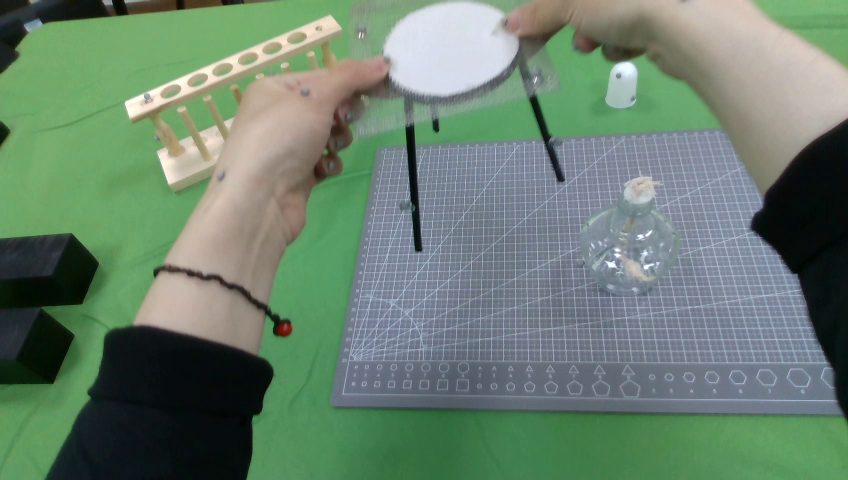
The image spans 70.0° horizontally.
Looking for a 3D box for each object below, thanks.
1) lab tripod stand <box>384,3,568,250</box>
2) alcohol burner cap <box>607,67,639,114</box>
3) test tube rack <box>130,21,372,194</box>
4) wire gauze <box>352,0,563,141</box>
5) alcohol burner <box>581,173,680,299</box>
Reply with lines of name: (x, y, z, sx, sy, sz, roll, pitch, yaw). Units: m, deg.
lab tripod stand: (0.028, -0.080, 0.428, 0.148, 0.133, 0.147, -5, 56, 8)
alcohol burner cap: (0.214, -0.162, 0.647, 0.034, 0.048, 0.033, -6, 52, 8)
test tube rack: (-0.187, -0.150, 0.683, 0.242, 0.086, 0.066, -27, 53, -11)
wire gauze: (0.015, -0.121, 0.377, 0.121, 0.011, 0.124, -10, 58, 6)
alcohol burner: (0.166, -0.006, 0.483, 0.078, 0.120, 0.077, -6, 49, 7)
